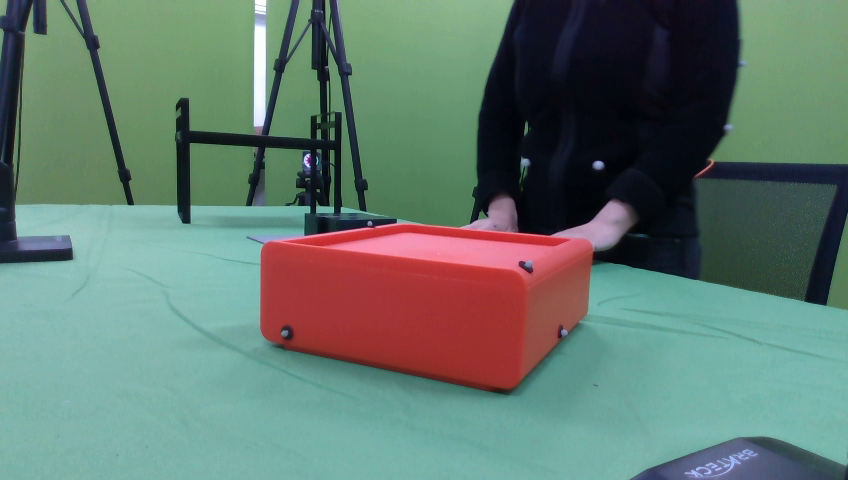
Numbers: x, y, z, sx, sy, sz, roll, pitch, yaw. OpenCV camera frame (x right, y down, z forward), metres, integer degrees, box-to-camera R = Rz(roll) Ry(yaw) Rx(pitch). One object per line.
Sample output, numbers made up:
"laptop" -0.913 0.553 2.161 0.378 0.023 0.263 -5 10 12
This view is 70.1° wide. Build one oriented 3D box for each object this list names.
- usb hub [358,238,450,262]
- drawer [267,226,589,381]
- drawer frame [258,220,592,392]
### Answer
"usb hub" -0.027 0.013 0.856 0.126 0.025 0.049 -2 8 -34
"drawer" 0.015 0.038 0.493 0.194 0.073 0.212 7 9 25
"drawer frame" 0.015 0.037 0.491 0.201 0.082 0.214 6 9 24
